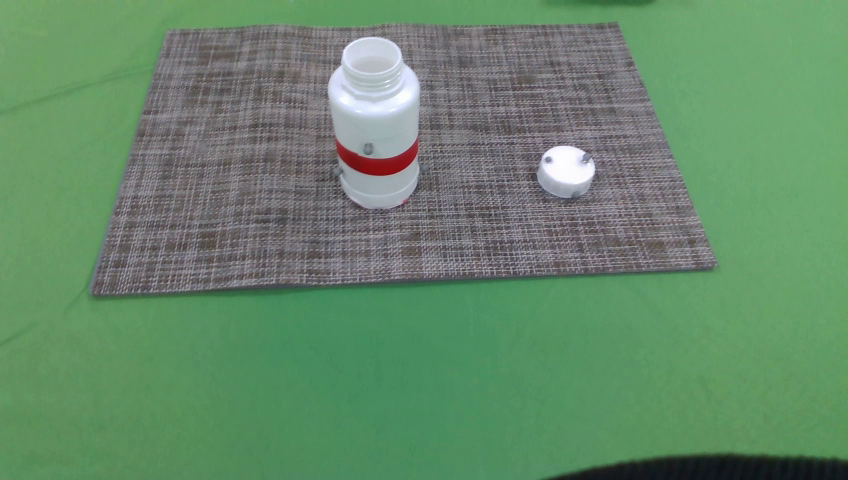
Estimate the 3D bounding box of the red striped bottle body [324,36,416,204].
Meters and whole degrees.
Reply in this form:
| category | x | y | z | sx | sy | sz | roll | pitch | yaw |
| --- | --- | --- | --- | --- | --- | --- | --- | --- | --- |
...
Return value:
| category | x | y | z | sx | sy | sz | roll | pitch | yaw |
| --- | --- | --- | --- | --- | --- | --- | --- | --- | --- |
| red striped bottle body | -0.037 | -0.085 | 0.438 | 0.063 | 0.120 | 0.062 | 1 | 55 | -1 |

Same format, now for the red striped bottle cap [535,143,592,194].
| category | x | y | z | sx | sy | sz | roll | pitch | yaw |
| --- | --- | --- | --- | --- | --- | --- | --- | --- | --- |
| red striped bottle cap | 0.113 | -0.058 | 0.490 | 0.044 | 0.018 | 0.044 | 1 | 51 | -1 |
